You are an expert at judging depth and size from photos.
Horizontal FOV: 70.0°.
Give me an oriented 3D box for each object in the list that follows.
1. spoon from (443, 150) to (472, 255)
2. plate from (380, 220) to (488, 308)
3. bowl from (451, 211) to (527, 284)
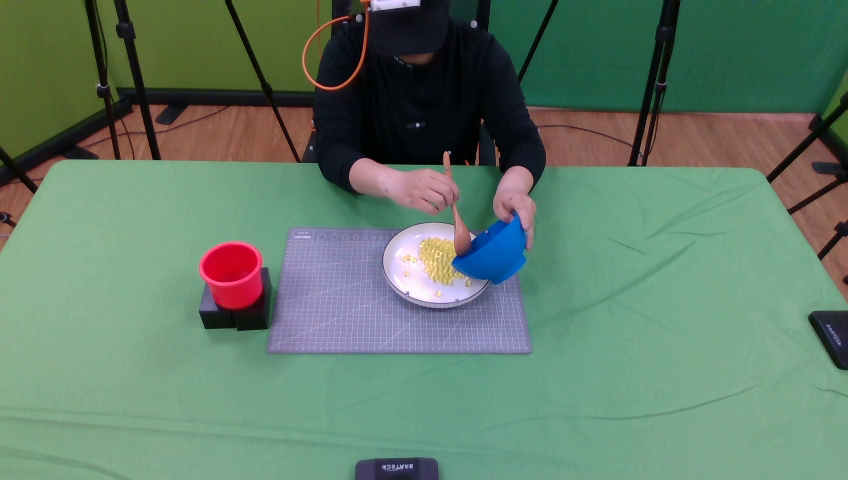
[{"bbox_3d":[0.055,-0.067,1.097,0.042,0.194,0.021,-17,7,-32],"label":"spoon"},{"bbox_3d":[0.022,0.048,1.138,0.208,0.039,0.206,2,46,-2],"label":"plate"},{"bbox_3d":[0.129,0.025,1.068,0.077,0.151,0.151,51,55,-5],"label":"bowl"}]
